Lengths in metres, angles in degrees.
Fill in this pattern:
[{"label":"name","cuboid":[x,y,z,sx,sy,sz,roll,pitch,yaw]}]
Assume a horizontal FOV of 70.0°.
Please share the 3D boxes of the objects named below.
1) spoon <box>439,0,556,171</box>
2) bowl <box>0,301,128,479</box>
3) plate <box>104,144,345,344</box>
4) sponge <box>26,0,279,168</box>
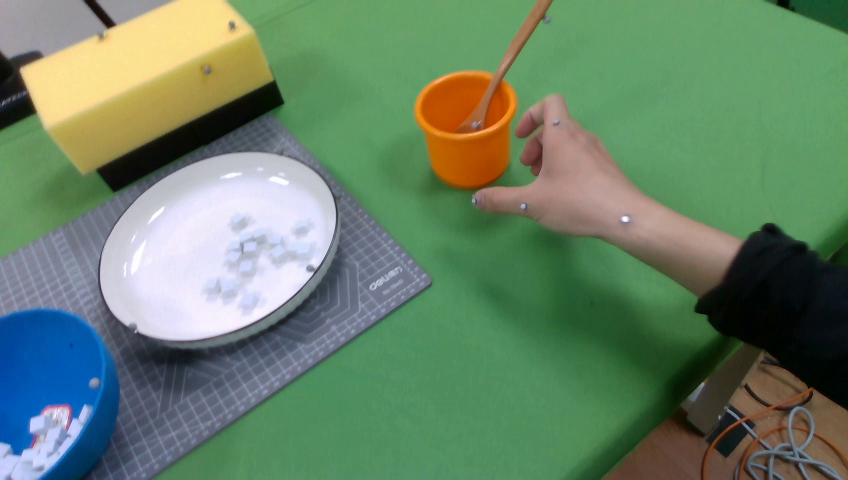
[{"label":"spoon","cuboid":[0.071,-0.146,0.542,0.041,0.194,0.022,42,24,27]},{"label":"bowl","cuboid":[-0.274,0.127,0.430,0.151,0.077,0.150,-4,53,6]},{"label":"plate","cuboid":[-0.170,0.001,0.534,0.209,0.038,0.207,-4,54,5]},{"label":"sponge","cuboid":[-0.267,-0.171,0.605,0.207,0.061,0.117,-32,56,-16]}]
